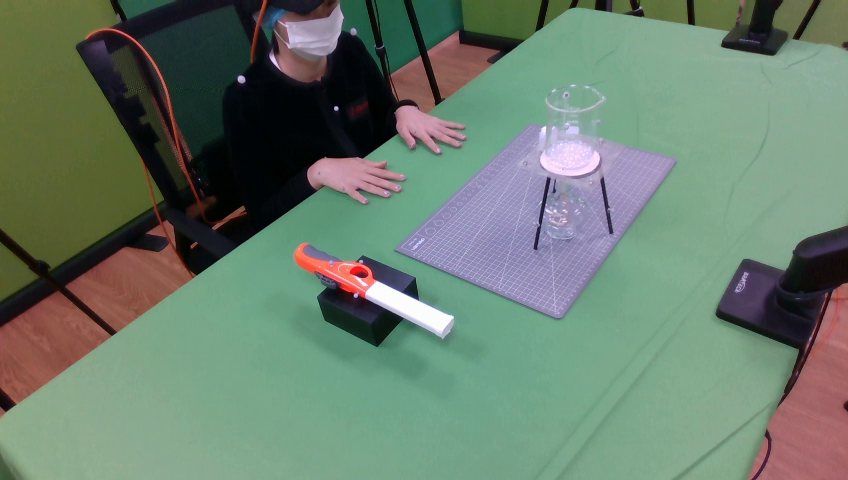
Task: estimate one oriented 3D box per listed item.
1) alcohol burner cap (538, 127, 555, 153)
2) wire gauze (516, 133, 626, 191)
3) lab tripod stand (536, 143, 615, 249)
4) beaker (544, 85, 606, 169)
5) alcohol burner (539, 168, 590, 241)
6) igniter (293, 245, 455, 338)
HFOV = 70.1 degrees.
[{"bbox_3d":[0.234,-0.191,1.147,0.034,0.048,0.033,-5,40,5],"label":"alcohol burner cap"},{"bbox_3d":[0.217,-0.122,0.893,0.124,0.011,0.122,20,47,32],"label":"wire gauze"},{"bbox_3d":[0.224,-0.069,0.931,0.148,0.132,0.147,-4,42,4],"label":"lab tripod stand"},{"bbox_3d":[0.212,-0.158,0.861,0.084,0.101,0.073,-3,41,6],"label":"beaker"},{"bbox_3d":[0.217,-0.059,0.935,0.078,0.119,0.077,-6,40,6],"label":"alcohol burner"},{"bbox_3d":[-0.079,0.065,0.833,0.274,0.025,0.057,23,48,27],"label":"igniter"}]
